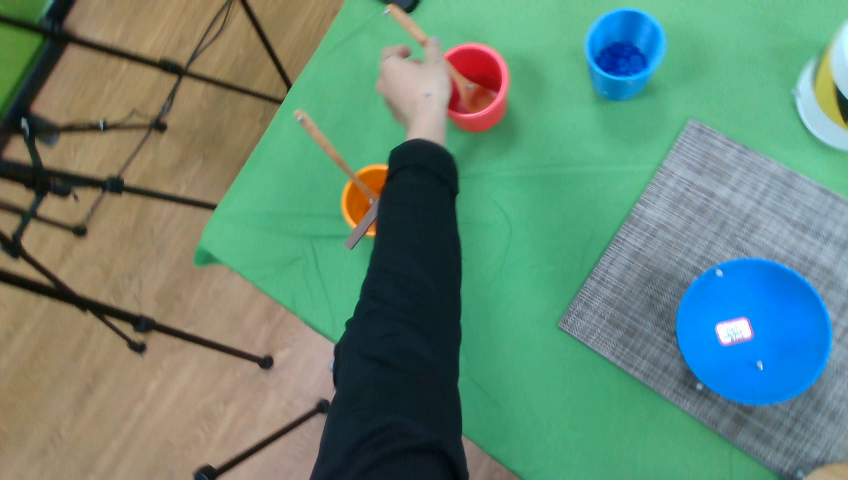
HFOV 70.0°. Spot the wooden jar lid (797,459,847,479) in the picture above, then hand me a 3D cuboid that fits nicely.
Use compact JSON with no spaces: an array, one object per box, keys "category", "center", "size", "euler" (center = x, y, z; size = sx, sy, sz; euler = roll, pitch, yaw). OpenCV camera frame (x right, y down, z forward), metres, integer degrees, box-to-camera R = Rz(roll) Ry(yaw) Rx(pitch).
[{"category":"wooden jar lid","center":[0.448,0.287,0.645],"size":[0.108,0.021,0.108],"euler":[-1,86,16]}]

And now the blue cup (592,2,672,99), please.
[{"category":"blue cup","center":[0.241,-0.213,0.721],"size":[0.092,0.100,0.092],"euler":[-1,84,12]}]

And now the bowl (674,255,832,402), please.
[{"category":"bowl","center":[0.347,0.098,0.663],"size":[0.151,0.077,0.151],"euler":[-2,82,12]}]

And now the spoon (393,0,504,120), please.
[{"category":"spoon","center":[0.032,-0.222,0.745],"size":[0.041,0.021,0.195],"euler":[-46,119,1]}]

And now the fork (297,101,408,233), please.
[{"category":"fork","center":[-0.086,-0.087,0.747],"size":[0.028,0.018,0.209],"euler":[-32,121,14]}]

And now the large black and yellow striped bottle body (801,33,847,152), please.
[{"category":"large black and yellow striped bottle body","center":[0.490,-0.175,0.620],"size":[0.130,0.185,0.130],"euler":[-2,81,12]}]

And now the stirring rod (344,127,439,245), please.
[{"category":"stirring rod","center":[-0.040,-0.065,0.732],"size":[0.014,0.006,0.176],"euler":[39,91,12]}]
